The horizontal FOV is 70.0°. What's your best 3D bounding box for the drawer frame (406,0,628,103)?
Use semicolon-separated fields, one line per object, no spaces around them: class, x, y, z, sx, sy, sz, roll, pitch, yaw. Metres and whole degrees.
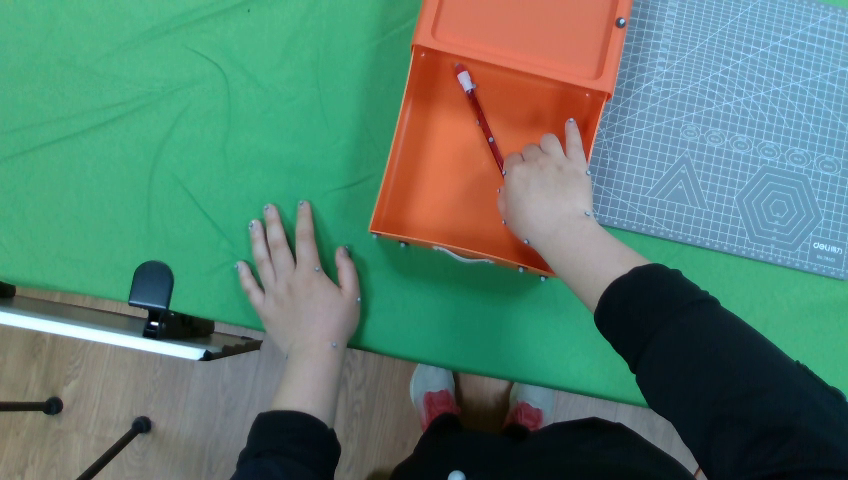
drawer frame;0.103;-0.256;0.620;0.202;0.083;0.213;13;84;0

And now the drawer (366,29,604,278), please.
drawer;0.061;-0.081;0.607;0.194;0.073;0.211;13;87;0

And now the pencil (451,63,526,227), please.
pencil;0.071;-0.095;0.637;0.012;0.012;0.194;-24;92;-4
